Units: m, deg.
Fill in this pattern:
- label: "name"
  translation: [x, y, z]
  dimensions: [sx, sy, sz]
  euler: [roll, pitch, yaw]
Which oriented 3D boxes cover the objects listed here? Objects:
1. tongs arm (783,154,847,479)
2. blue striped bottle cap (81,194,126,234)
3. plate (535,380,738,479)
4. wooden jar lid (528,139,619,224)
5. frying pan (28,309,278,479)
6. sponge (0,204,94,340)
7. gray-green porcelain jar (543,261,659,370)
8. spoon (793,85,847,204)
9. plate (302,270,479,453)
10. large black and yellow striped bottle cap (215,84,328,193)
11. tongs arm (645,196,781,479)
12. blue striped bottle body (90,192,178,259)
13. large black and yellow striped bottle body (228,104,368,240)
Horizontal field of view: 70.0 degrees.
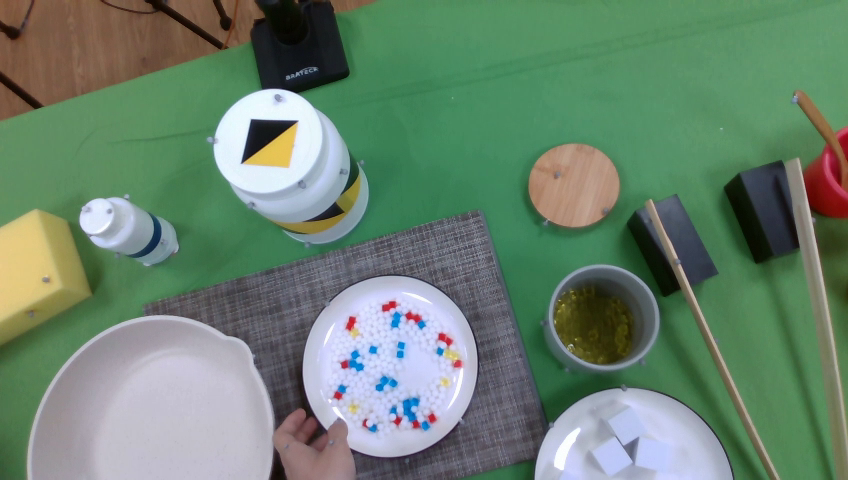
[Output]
- label: "tongs arm"
  translation: [0.413, 0.101, 0.638]
  dimensions: [0.028, 0.028, 0.386]
  euler: [-6, 86, -2]
- label: "blue striped bottle cap"
  translation: [-0.369, -0.030, 0.697]
  dimensions: [0.044, 0.021, 0.044]
  euler: [-3, 74, 9]
- label: "plate"
  translation: [0.224, 0.257, 0.654]
  dimensions: [0.207, 0.039, 0.206]
  euler: [-2, 77, 7]
- label: "wooden jar lid"
  translation: [0.183, -0.070, 0.743]
  dimensions: [0.108, 0.021, 0.108]
  euler: [-1, 78, 7]
- label: "frying pan"
  translation: [-0.232, 0.293, 0.664]
  dimensions: [0.306, 0.103, 0.484]
  euler: [-45, 68, -3]
- label: "sponge"
  translation: [-0.553, 0.058, 0.784]
  dimensions: [0.207, 0.061, 0.117]
  euler: [-29, 75, -1]
- label: "gray-green porcelain jar"
  translation: [0.183, 0.086, 0.652]
  dimensions: [0.106, 0.127, 0.105]
  euler: [-2, 76, 7]
- label: "spoon"
  translation: [0.443, -0.101, 0.653]
  dimensions: [0.195, 0.021, 0.041]
  euler: [40, 86, -31]
- label: "plate"
  translation: [-0.038, 0.139, 0.709]
  dimensions: [0.209, 0.038, 0.208]
  euler: [-2, 77, 8]
- label: "large black and yellow striped bottle cap"
  translation: [-0.156, -0.105, 0.622]
  dimensions: [0.115, 0.019, 0.114]
  euler: [-1, 78, 6]
- label: "tongs arm"
  translation: [0.331, 0.124, 0.642]
  dimensions: [0.051, 0.026, 0.384]
  euler: [-21, 86, 0]
- label: "blue striped bottle body"
  translation: [-0.362, -0.019, 0.747]
  dimensions: [0.063, 0.121, 0.063]
  euler: [-2, 77, 7]
- label: "large black and yellow striped bottle body"
  translation: [-0.146, -0.083, 0.703]
  dimensions: [0.130, 0.185, 0.130]
  euler: [-2, 76, 7]
